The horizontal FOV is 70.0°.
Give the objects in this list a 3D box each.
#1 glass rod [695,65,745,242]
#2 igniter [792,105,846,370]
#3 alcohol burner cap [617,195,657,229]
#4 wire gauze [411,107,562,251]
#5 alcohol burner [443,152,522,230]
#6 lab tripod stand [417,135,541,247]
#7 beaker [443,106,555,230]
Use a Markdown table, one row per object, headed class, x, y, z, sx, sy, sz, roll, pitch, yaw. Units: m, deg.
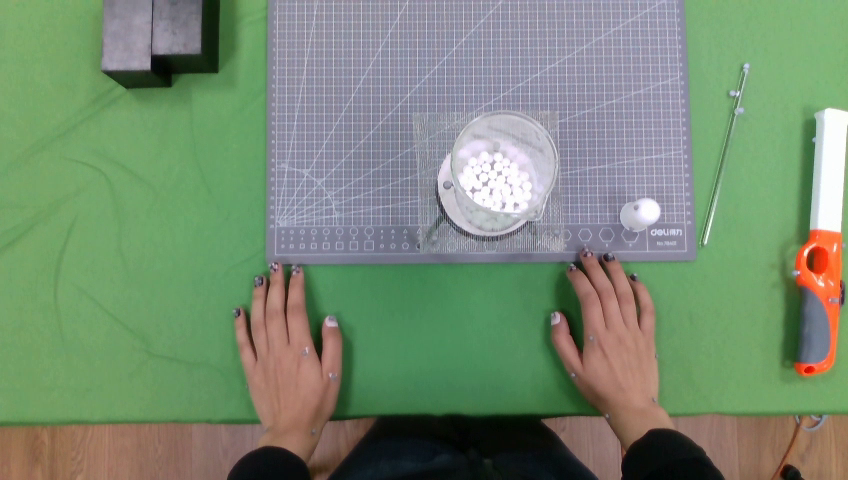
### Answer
| class | x | y | z | sx | sy | sz | roll | pitch | yaw |
| --- | --- | --- | --- | --- | --- | --- | --- | --- | --- |
| glass rod | 0.315 | -0.094 | 0.645 | 0.008 | 0.008 | 0.199 | 16 | 85 | 1 |
| igniter | 0.411 | -0.003 | 0.628 | 0.057 | 0.025 | 0.276 | 8 | 85 | -10 |
| alcohol burner cap | 0.220 | -0.030 | 0.620 | 0.034 | 0.048 | 0.034 | 0 | 83 | 1 |
| wire gauze | 0.052 | -0.052 | 0.509 | 0.125 | 0.011 | 0.121 | -2 | 83 | 2 |
| alcohol burner | 0.058 | -0.051 | 0.585 | 0.078 | 0.119 | 0.077 | 0 | 83 | 0 |
| lab tripod stand | 0.052 | -0.042 | 0.574 | 0.148 | 0.132 | 0.148 | 0 | 84 | 1 |
| beaker | 0.055 | -0.046 | 0.460 | 0.074 | 0.100 | 0.084 | -33 | 84 | -3 |
